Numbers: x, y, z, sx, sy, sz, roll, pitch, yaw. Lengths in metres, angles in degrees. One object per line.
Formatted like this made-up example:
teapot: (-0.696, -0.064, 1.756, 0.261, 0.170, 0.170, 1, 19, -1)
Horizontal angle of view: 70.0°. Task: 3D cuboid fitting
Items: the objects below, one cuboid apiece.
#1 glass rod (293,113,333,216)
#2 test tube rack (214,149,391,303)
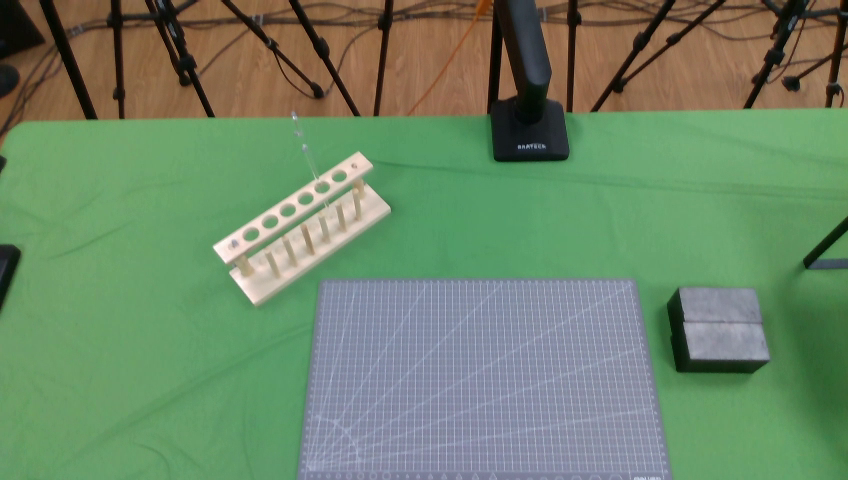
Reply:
glass rod: (-0.150, -0.096, 0.828, 0.008, 0.201, 0.008, -3, 53, 5)
test tube rack: (-0.165, -0.021, 0.861, 0.242, 0.086, 0.066, -37, 65, -18)
